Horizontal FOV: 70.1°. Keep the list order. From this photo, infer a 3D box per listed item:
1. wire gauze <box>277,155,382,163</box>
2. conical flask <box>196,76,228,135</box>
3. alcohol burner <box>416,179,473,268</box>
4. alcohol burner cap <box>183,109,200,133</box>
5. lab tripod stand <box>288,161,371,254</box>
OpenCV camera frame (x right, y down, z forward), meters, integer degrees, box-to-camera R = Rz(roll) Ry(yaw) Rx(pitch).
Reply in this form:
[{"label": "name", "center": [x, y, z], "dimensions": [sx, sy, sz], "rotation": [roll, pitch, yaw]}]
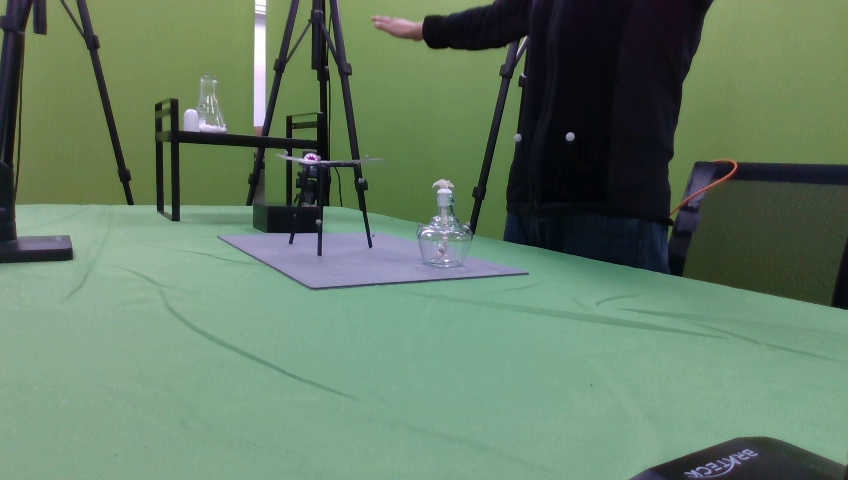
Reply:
[{"label": "wire gauze", "center": [-0.142, -0.118, 0.899], "dimensions": [0.122, 0.011, 0.124], "rotation": [-3, 8, -36]}, {"label": "conical flask", "center": [-0.465, -0.291, 1.311], "dimensions": [0.075, 0.122, 0.075], "rotation": [2, 7, 0]}, {"label": "alcohol burner", "center": [0.027, -0.022, 0.816], "dimensions": [0.078, 0.119, 0.078], "rotation": [0, 7, 0]}, {"label": "alcohol burner cap", "center": [-0.472, -0.241, 1.229], "dimensions": [0.034, 0.048, 0.034], "rotation": [4, 7, 0]}, {"label": "lab tripod stand", "center": [-0.148, -0.052, 0.908], "dimensions": [0.148, 0.131, 0.148], "rotation": [1, 8, 0]}]
